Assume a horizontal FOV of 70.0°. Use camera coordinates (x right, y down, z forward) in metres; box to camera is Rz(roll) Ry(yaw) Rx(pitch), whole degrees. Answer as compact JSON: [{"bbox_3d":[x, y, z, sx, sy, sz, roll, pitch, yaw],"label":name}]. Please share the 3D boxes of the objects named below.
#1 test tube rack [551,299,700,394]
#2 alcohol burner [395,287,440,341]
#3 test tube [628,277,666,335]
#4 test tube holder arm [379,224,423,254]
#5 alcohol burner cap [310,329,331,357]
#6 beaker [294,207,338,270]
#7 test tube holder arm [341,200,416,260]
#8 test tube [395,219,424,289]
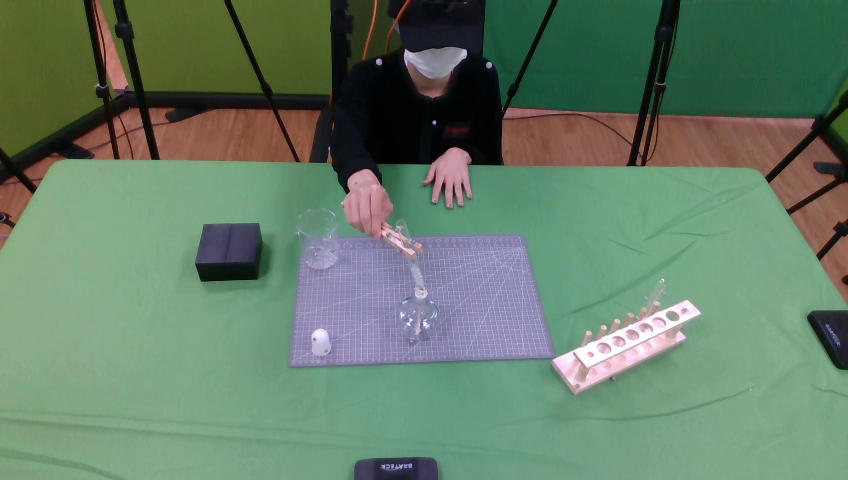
[{"bbox_3d":[0.339,0.166,1.021,0.242,0.085,0.066,-19,50,-21],"label":"test tube rack"},{"bbox_3d":[-0.010,0.116,1.018,0.078,0.119,0.077,3,47,-3],"label":"alcohol burner"},{"bbox_3d":[0.371,0.112,1.014,0.017,0.151,0.017,3,47,-3],"label":"test tube"},{"bbox_3d":[-0.038,-0.003,0.919,0.087,0.015,0.010,26,58,31],"label":"test tube holder arm"},{"bbox_3d":[-0.173,0.168,1.005,0.034,0.048,0.033,2,46,-2],"label":"alcohol burner cap"},{"bbox_3d":[-0.196,0.003,1.123,0.074,0.101,0.083,-23,52,-24],"label":"beaker"},{"bbox_3d":[-0.074,-0.019,0.942,0.013,0.015,0.177,-39,52,-23],"label":"test tube holder arm"},{"bbox_3d":[-0.020,0.025,0.920,0.017,0.151,0.017,-8,46,8],"label":"test tube"}]
